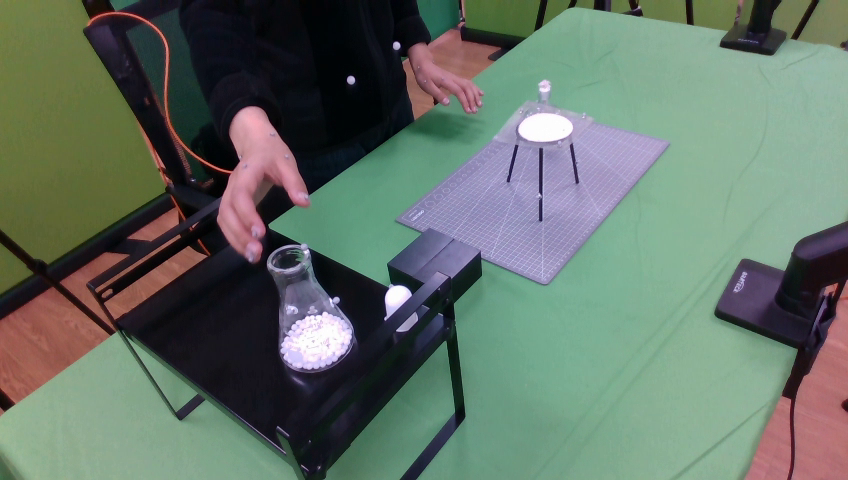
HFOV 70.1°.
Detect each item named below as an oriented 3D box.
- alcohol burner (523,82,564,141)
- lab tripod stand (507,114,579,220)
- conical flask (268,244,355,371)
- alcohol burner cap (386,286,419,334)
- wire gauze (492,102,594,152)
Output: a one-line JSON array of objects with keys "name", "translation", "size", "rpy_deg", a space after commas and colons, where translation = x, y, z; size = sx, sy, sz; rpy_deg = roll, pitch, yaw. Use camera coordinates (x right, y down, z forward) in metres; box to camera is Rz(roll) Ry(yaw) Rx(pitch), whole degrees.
[{"name": "alcohol burner", "translation": [0.230, -0.251, 1.161], "size": [0.078, 0.119, 0.077], "rpy_deg": [-4, 43, 4]}, {"name": "lab tripod stand", "translation": [0.199, -0.128, 1.005], "size": [0.148, 0.132, 0.147], "rpy_deg": [-3, 42, 3]}, {"name": "conical flask", "translation": [-0.111, 0.060, 0.564], "size": [0.075, 0.122, 0.075], "rpy_deg": [-5, 41, 4]}, {"name": "alcohol burner cap", "translation": [-0.024, 0.067, 0.604], "size": [0.034, 0.048, 0.033], "rpy_deg": [-5, 39, 4]}, {"name": "wire gauze", "translation": [0.191, -0.180, 0.964], "size": [0.120, 0.011, 0.125], "rpy_deg": [19, 48, 28]}]
